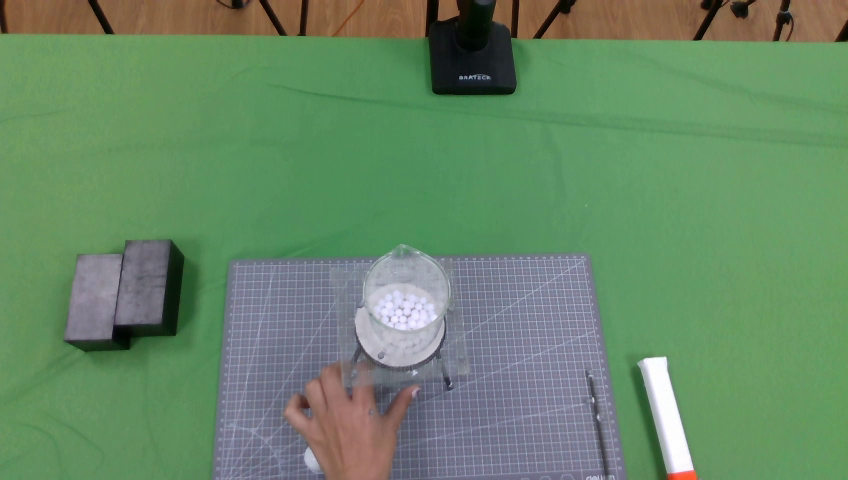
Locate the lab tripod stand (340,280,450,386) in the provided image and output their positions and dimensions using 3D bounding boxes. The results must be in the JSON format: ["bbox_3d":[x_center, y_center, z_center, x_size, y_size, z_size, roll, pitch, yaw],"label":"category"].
[{"bbox_3d":[-0.030,0.102,0.650,0.148,0.132,0.147,1,66,-2],"label":"lab tripod stand"}]

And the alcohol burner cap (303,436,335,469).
[{"bbox_3d":[-0.112,0.224,0.643,0.034,0.048,0.033,1,68,-3],"label":"alcohol burner cap"}]

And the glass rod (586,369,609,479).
[{"bbox_3d":[0.199,0.244,0.678,0.008,0.008,0.198,-2,68,-6],"label":"glass rod"}]

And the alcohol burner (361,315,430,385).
[{"bbox_3d":[-0.031,0.115,0.655,0.078,0.120,0.077,1,66,-2],"label":"alcohol burner"}]

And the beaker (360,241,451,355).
[{"bbox_3d":[-0.019,0.057,0.545,0.074,0.101,0.083,-4,66,-6],"label":"beaker"}]

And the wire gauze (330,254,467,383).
[{"bbox_3d":[-0.026,0.074,0.590,0.125,0.011,0.120,-5,66,-5],"label":"wire gauze"}]

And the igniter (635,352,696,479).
[{"bbox_3d":[0.282,0.262,0.671,0.057,0.025,0.274,-1,68,-15],"label":"igniter"}]
